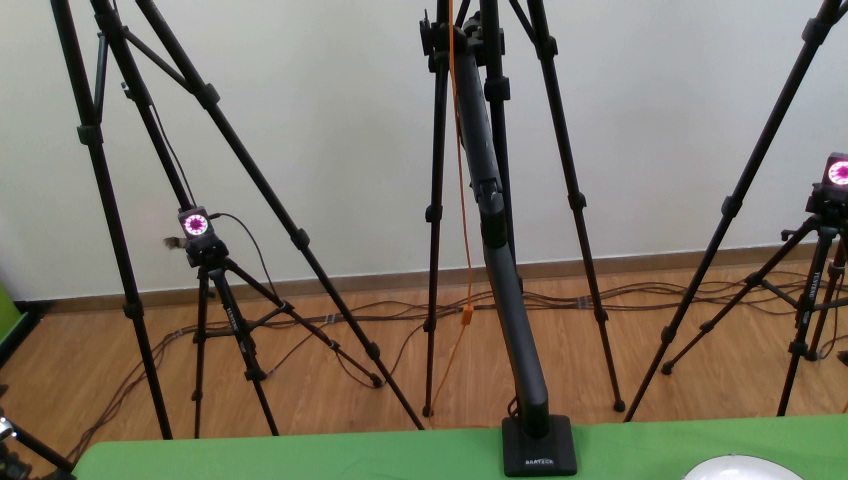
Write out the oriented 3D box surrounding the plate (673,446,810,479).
[{"bbox_3d":[0.444,0.381,0.826,0.207,0.039,0.205,-6,37,5],"label":"plate"}]
